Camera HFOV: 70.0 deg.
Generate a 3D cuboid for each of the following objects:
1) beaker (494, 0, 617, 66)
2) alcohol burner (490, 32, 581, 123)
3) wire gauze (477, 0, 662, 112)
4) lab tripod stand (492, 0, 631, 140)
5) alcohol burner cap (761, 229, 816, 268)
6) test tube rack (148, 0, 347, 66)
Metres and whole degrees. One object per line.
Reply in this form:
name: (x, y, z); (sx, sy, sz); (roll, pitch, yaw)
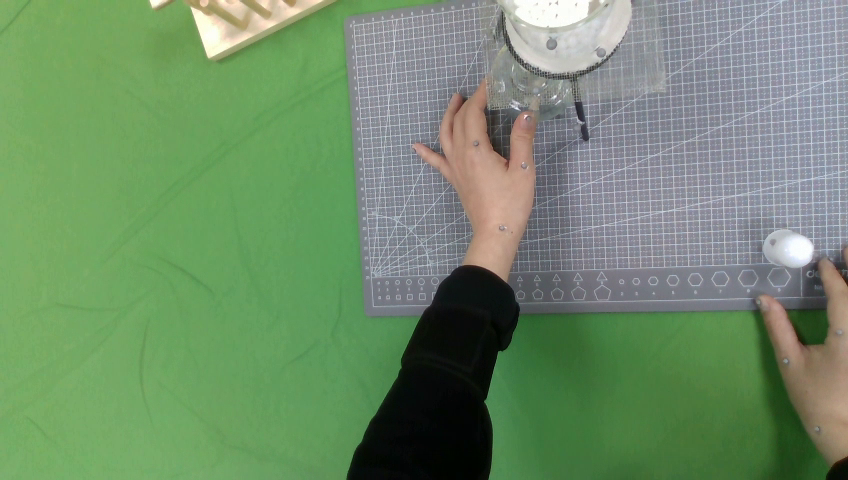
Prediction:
beaker: (0.082, -0.154, 0.381); (0.083, 0.100, 0.074); (11, 97, 14)
alcohol burner: (0.092, -0.139, 0.508); (0.078, 0.119, 0.078); (1, 93, 13)
wire gauze: (0.100, -0.156, 0.426); (0.125, 0.011, 0.121); (-4, 96, 12)
lab tripod stand: (0.117, -0.159, 0.490); (0.148, 0.131, 0.148); (1, 95, 13)
alcohol burner cap: (0.303, 0.008, 0.500); (0.034, 0.048, 0.034); (1, 93, 14)
test tube rack: (-0.134, -0.255, 0.576); (0.242, 0.085, 0.066); (-21, 88, 15)
